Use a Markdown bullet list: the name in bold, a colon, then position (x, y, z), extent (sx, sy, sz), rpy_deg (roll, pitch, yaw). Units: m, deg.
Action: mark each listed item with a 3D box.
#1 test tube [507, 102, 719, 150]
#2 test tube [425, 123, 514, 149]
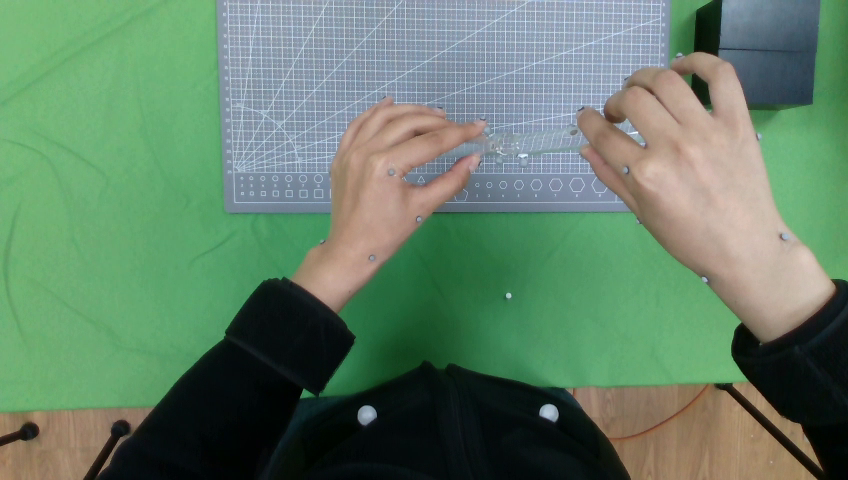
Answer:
- **test tube**: position (0.131, -0.079, 0.415), extent (0.151, 0.017, 0.017), rpy_deg (-8, 97, -6)
- **test tube**: position (0.031, -0.081, 0.482), extent (0.017, 0.149, 0.017), rpy_deg (-3, 98, -19)
